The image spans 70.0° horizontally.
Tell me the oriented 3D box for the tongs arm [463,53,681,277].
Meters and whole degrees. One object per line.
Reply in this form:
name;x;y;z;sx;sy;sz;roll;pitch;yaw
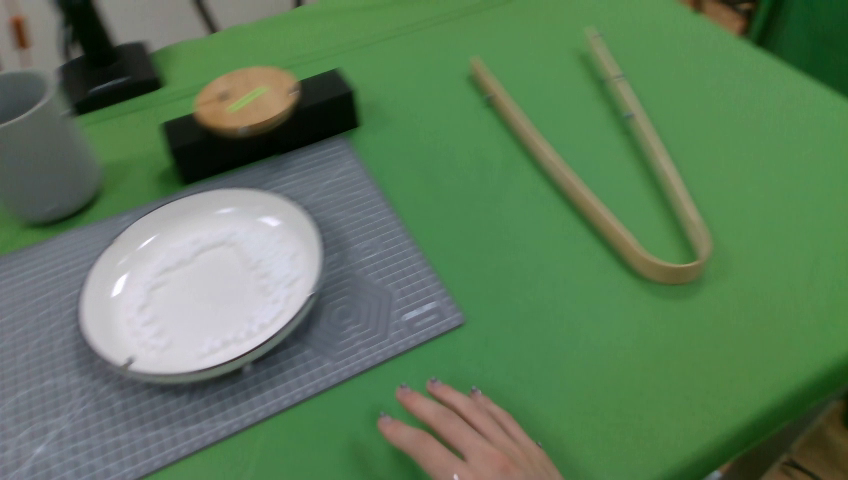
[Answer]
tongs arm;0.131;-0.098;0.642;0.028;0.028;0.383;-20;50;-15

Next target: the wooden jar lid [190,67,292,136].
wooden jar lid;-0.194;-0.149;0.653;0.108;0.021;0.107;-2;49;2

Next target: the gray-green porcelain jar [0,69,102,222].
gray-green porcelain jar;-0.402;-0.090;0.614;0.106;0.128;0.105;-3;48;3

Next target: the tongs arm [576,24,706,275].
tongs arm;0.210;-0.121;0.649;0.051;0.027;0.380;-11;49;-3

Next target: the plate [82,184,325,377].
plate;-0.191;0.033;0.543;0.209;0.038;0.207;-2;49;3
